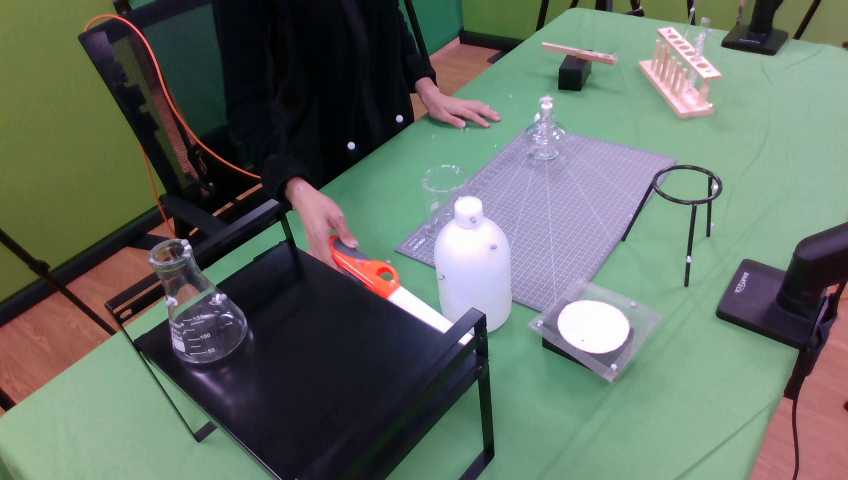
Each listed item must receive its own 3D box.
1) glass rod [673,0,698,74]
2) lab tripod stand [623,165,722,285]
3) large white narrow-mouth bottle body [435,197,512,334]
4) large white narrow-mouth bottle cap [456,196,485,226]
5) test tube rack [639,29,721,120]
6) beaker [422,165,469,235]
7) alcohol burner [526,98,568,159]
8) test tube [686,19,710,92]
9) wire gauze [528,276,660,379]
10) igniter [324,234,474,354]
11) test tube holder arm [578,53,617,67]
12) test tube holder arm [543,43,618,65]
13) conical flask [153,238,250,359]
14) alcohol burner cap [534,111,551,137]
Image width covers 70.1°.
[{"bbox_3d":[0.538,-0.425,1.244,0.008,0.200,0.008,0,47,0],"label":"glass rod"},{"bbox_3d":[0.365,-0.030,0.874,0.148,0.132,0.147,-6,41,6],"label":"lab tripod stand"},{"bbox_3d":[0.066,0.028,0.805,0.102,0.195,0.101,-4,40,4],"label":"large white narrow-mouth bottle body"},{"bbox_3d":[0.057,-0.036,0.749,0.038,0.024,0.037,-4,40,4],"label":"large white narrow-mouth bottle cap"},{"bbox_3d":[0.527,-0.351,1.262,0.067,0.085,0.241,-8,40,1],"label":"test tube rack"},{"bbox_3d":[0.041,-0.063,0.986,0.073,0.101,0.084,20,47,29],"label":"beaker"},{"bbox_3d":[0.228,-0.210,1.118,0.078,0.119,0.077,-5,43,5],"label":"alcohol burner"},{"bbox_3d":[0.540,-0.360,1.193,0.017,0.151,0.017,-4,43,4],"label":"test tube"},{"bbox_3d":[0.213,0.103,0.763,0.124,0.011,0.122,30,52,35],"label":"wire gauze"},{"bbox_3d":[-0.045,0.068,0.846,0.274,0.025,0.057,33,58,27],"label":"igniter"},{"bbox_3d":[0.376,-0.393,1.314,0.087,0.015,0.010,26,51,32],"label":"test tube holder arm"},{"bbox_3d":[0.344,-0.413,1.340,0.177,0.015,0.013,25,51,31],"label":"test tube holder arm"},{"bbox_3d":[-0.225,0.055,0.597,0.075,0.122,0.075,-5,41,4],"label":"conical flask"},{"bbox_3d":[0.235,-0.231,1.197,0.034,0.048,0.033,-5,38,5],"label":"alcohol burner cap"}]
